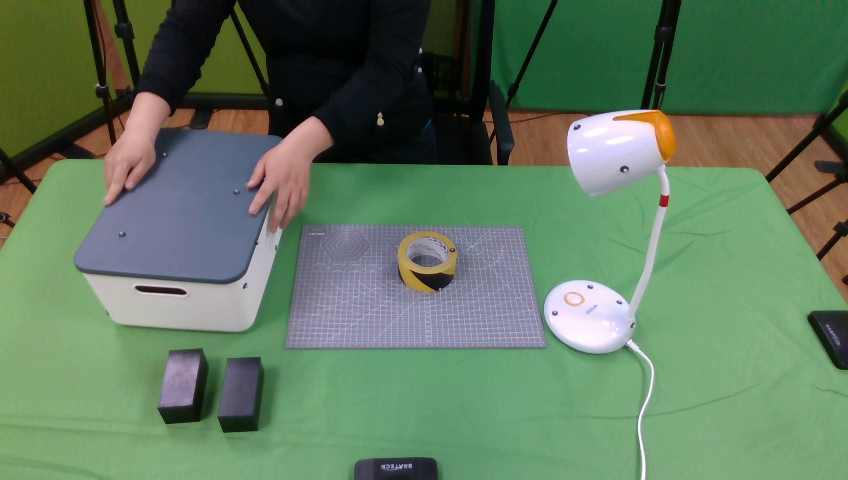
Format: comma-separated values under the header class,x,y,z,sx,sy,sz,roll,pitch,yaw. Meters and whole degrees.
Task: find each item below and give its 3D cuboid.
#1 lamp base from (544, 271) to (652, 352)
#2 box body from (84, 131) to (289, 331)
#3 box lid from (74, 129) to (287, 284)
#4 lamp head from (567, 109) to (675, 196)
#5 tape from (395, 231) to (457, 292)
class,x,y,z,sx,sy,sz,roll,pitch,yaw
lamp base,0.310,0.086,1.029,0.178,0.181,0.160,32,52,21
box body,-0.400,-0.022,1.091,0.254,0.161,0.362,4,46,0
box lid,-0.397,-0.071,1.036,0.263,0.015,0.369,4,45,-1
lamp head,0.272,-0.123,0.818,0.122,0.113,0.112,-9,35,37
tape,0.005,0.039,1.136,0.117,0.053,0.116,2,46,-1
